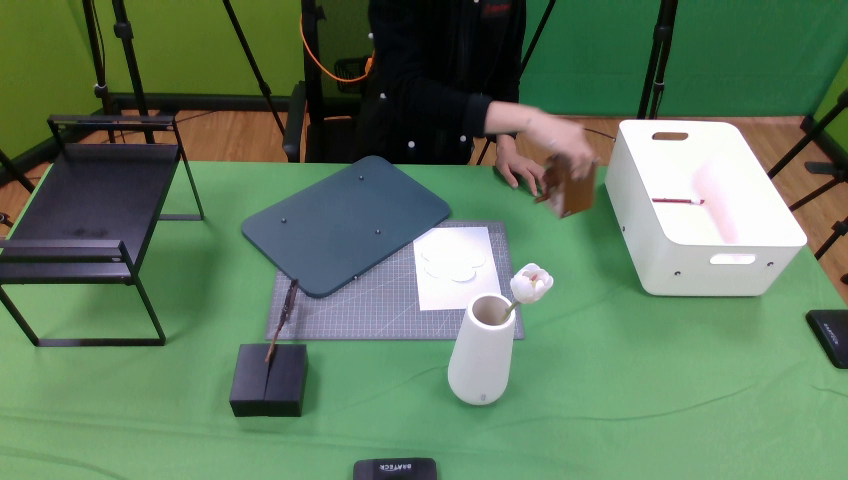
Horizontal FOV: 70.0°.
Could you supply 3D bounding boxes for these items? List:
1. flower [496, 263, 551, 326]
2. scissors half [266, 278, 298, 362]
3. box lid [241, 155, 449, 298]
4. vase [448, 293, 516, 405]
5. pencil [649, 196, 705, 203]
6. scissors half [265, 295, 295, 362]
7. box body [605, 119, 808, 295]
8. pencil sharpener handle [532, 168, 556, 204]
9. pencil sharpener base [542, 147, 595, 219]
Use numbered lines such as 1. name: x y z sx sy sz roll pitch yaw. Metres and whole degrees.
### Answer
1. flower: 0.102 0.120 0.853 0.044 0.363 0.038 -1 64 -10
2. scissors half: -0.234 0.127 0.993 0.013 0.040 0.174 12 46 -4
3. box lid: -0.157 -0.043 1.234 0.371 0.015 0.262 -34 56 -31
4. vase: 0.091 0.169 0.921 0.098 0.201 0.097 3 47 -3
5. pencil: 0.513 -0.091 1.322 0.194 0.012 0.012 3 46 1
6. scissors half: -0.239 0.143 1.005 0.013 0.040 0.174 17 27 -7
7. box body: 0.529 -0.068 1.205 0.254 0.161 0.361 1 46 -4
8. pencil sharpener handle: 0.208 -0.093 1.067 0.031 0.068 0.035 -21 49 -16
9. pencil sharpener base: 0.255 -0.100 1.089 0.077 0.107 0.061 -21 43 -16
